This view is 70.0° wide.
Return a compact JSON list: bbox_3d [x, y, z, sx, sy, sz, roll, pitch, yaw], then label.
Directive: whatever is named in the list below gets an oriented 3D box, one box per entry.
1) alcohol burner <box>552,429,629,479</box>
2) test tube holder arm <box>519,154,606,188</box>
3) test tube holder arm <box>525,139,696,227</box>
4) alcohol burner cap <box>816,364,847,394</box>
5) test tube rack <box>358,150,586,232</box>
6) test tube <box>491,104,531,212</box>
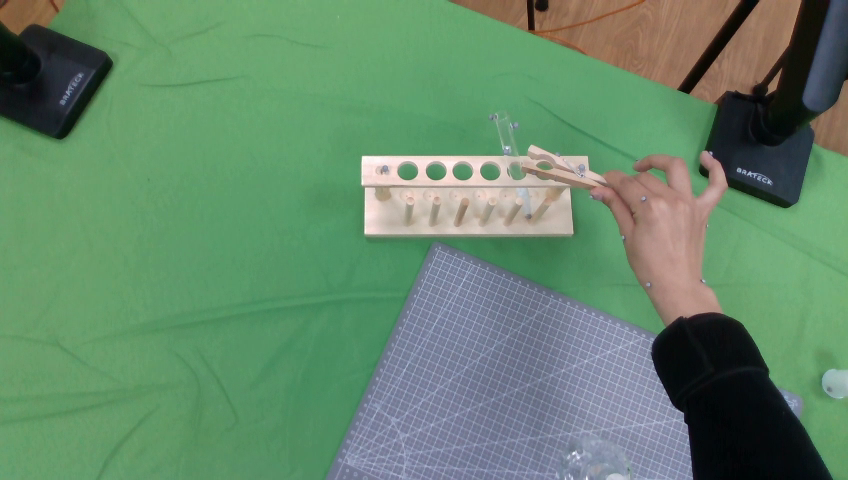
[{"bbox_3d":[0.167,0.226,0.591,0.078,0.119,0.077,1,76,-3],"label":"alcohol burner"},{"bbox_3d":[0.138,-0.069,0.604,0.087,0.015,0.010,16,78,10],"label":"test tube holder arm"},{"bbox_3d":[0.181,-0.057,0.596,0.178,0.015,0.013,26,81,12],"label":"test tube holder arm"},{"bbox_3d":[0.462,0.152,0.666,0.034,0.048,0.033,1,74,-2],"label":"alcohol burner cap"},{"bbox_3d":[0.050,-0.053,0.674,0.242,0.085,0.066,0,74,-3],"label":"test tube rack"},{"bbox_3d":[0.094,-0.081,0.639,0.017,0.152,0.017,-11,49,13],"label":"test tube"}]
